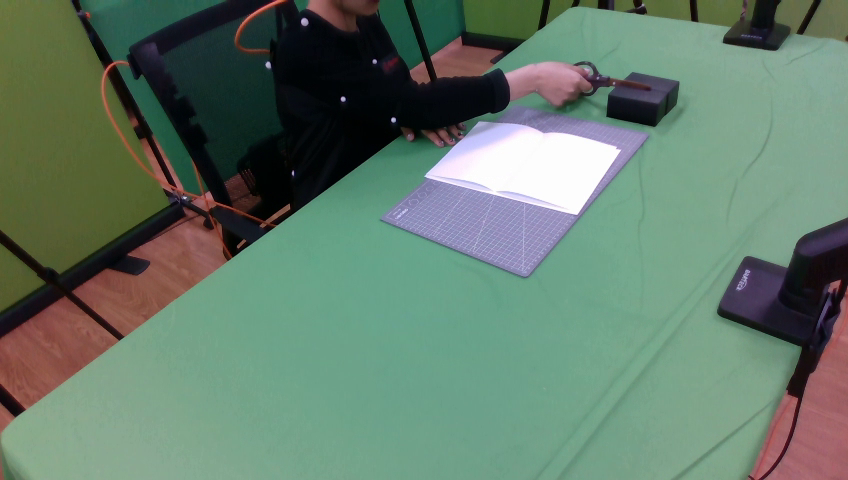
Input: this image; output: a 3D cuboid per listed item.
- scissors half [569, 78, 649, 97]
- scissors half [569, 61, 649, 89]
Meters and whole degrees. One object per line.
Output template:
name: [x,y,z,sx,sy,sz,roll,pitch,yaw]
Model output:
scissors half: [0.376,-0.314,1.238,0.174,0.040,0.013,11,34,42]
scissors half: [0.373,-0.331,1.228,0.174,0.040,0.013,27,49,30]
